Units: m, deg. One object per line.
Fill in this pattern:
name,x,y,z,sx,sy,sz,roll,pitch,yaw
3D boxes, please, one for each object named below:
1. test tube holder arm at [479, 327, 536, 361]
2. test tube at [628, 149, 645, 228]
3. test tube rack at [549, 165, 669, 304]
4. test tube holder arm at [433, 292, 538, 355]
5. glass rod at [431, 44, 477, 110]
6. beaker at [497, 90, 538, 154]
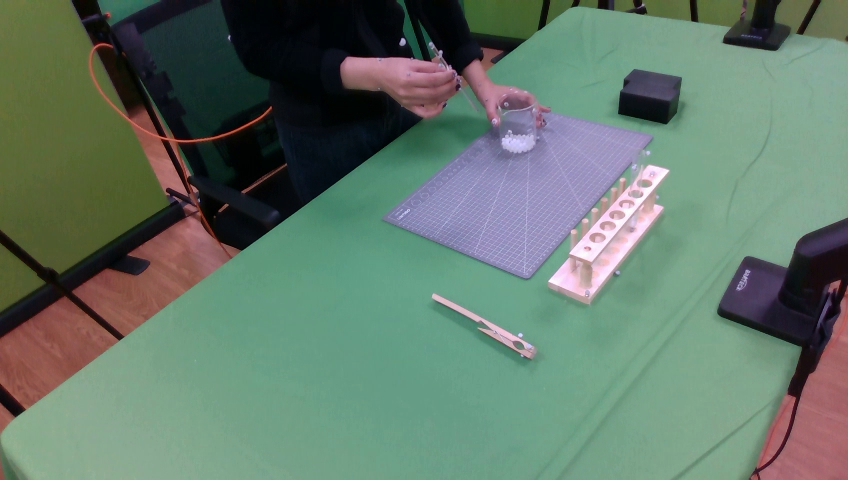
test tube holder arm,0.110,0.134,0.805,0.087,0.015,0.010,29,82,36
test tube,0.309,-0.071,0.882,0.017,0.151,0.017,-7,46,8
test tube rack,0.279,-0.018,0.902,0.066,0.085,0.243,24,50,33
test tube holder arm,0.081,0.112,0.832,0.177,0.015,0.013,28,82,36
glass rod,0.053,-0.266,1.003,0.008,0.201,0.008,-8,70,23
beaker,0.176,-0.220,1.143,0.073,0.101,0.084,27,52,35
